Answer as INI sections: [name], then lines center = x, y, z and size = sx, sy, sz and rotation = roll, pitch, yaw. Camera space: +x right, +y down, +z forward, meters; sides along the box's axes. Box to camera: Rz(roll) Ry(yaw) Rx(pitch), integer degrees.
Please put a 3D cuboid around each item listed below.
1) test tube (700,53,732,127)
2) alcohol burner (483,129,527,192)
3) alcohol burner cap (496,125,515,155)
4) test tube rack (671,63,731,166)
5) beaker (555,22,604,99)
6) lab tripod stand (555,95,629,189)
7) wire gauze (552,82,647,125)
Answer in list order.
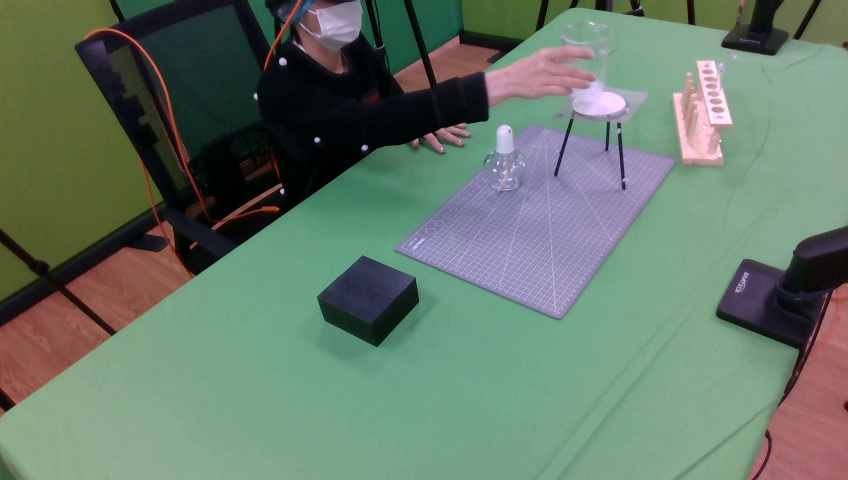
[test tube]
center = 0.521, -0.265, 1.081
size = 0.017, 0.151, 0.017
rotation = -3, 47, 3
[alcohol burner]
center = 0.141, -0.144, 1.050
size = 0.078, 0.119, 0.077
rotation = -4, 42, 4
[alcohol burner cap]
center = 0.138, -0.172, 1.028
size = 0.034, 0.048, 0.033
rotation = -5, 38, 4
[test tube rack]
center = 0.513, -0.241, 1.132
size = 0.066, 0.085, 0.242
rotation = 4, 41, 14
[beaker]
center = 0.248, -0.285, 0.964
size = 0.073, 0.101, 0.084
rotation = 21, 51, 29
[lab tripod stand]
center = 0.300, -0.174, 1.045
size = 0.148, 0.132, 0.147
rotation = -5, 38, 5
[wire gauze]
center = 0.293, -0.225, 1.002
size = 0.120, 0.011, 0.125
rotation = 17, 45, 27
